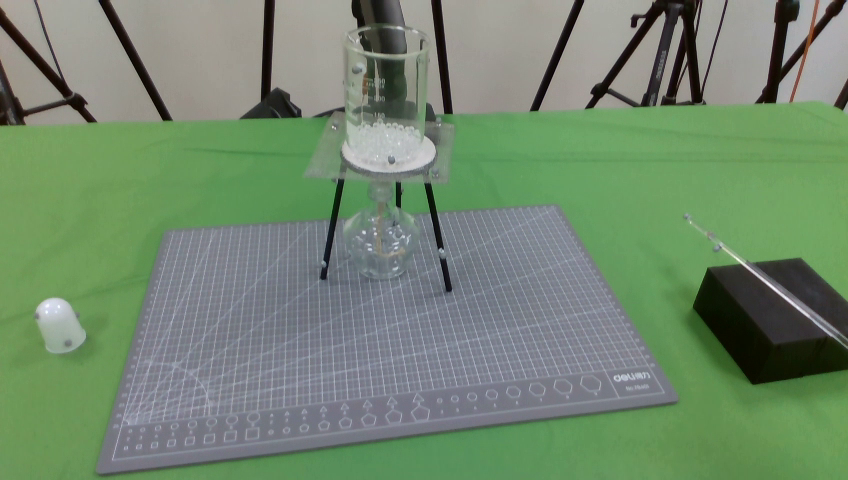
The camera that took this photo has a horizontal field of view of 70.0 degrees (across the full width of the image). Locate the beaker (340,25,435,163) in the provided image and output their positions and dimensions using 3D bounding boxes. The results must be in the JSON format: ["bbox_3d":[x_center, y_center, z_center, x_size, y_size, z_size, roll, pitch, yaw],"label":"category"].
[{"bbox_3d":[-0.035,-0.125,0.521,0.083,0.101,0.074,28,43,28],"label":"beaker"}]

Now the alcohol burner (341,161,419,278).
[{"bbox_3d":[-0.043,-0.023,0.593,0.078,0.120,0.077,1,35,0],"label":"alcohol burner"}]

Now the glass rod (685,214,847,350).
[{"bbox_3d":[0.307,0.031,0.555,0.008,0.008,0.197,-12,39,-18],"label":"glass rod"}]

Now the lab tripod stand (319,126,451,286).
[{"bbox_3d":[-0.031,-0.032,0.589,0.148,0.132,0.147,3,36,-2],"label":"lab tripod stand"}]

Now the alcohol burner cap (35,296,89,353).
[{"bbox_3d":[-0.312,0.070,0.518,0.034,0.048,0.033,1,37,-1],"label":"alcohol burner cap"}]

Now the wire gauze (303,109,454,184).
[{"bbox_3d":[-0.036,-0.085,0.549,0.121,0.011,0.124,5,39,3],"label":"wire gauze"}]
